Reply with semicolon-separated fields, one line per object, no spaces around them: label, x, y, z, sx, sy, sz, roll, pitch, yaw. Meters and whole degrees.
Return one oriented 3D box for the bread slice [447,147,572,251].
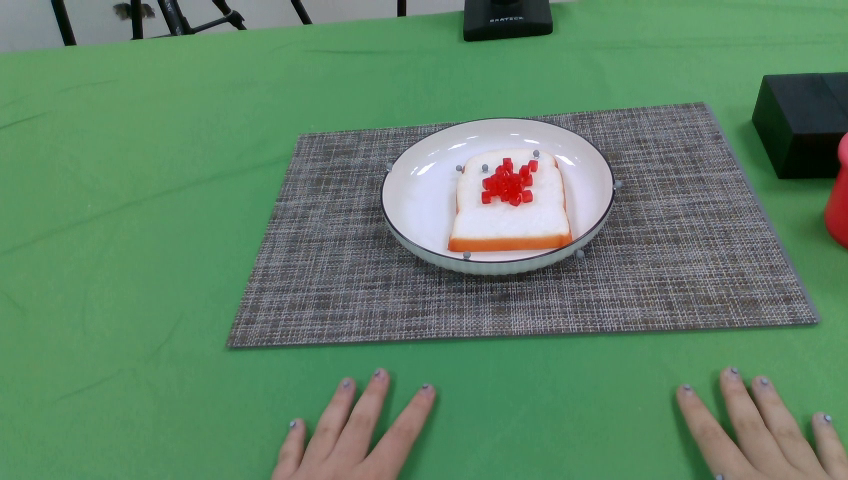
bread slice;0.076;-0.041;0.554;0.105;0.019;0.130;-1;45;8

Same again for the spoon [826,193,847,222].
spoon;0.399;-0.054;0.438;0.022;0.193;0.041;44;49;-12

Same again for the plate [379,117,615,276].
plate;0.064;-0.041;0.554;0.209;0.038;0.207;-5;44;5
